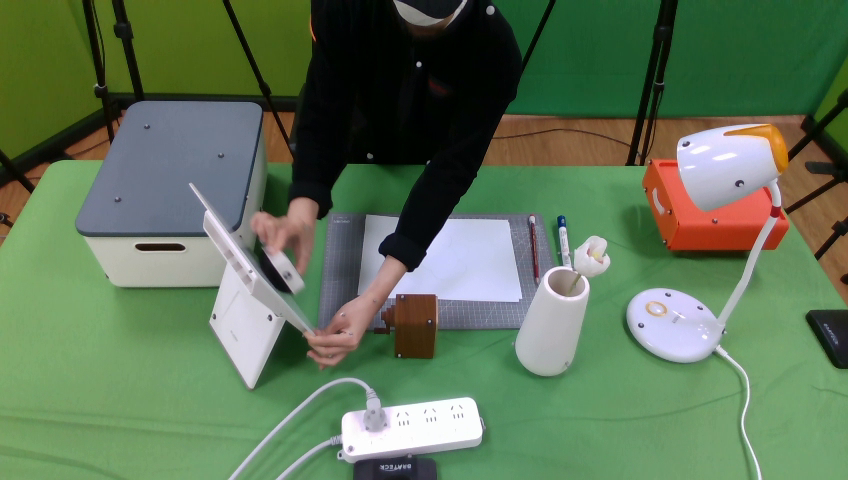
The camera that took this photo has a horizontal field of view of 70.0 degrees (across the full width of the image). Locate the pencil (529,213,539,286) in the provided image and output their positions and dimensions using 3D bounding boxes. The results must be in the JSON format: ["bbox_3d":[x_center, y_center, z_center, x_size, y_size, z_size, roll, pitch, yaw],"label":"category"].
[{"bbox_3d":[0.219,0.016,1.204,0.012,0.012,0.193,5,47,0],"label":"pencil"}]

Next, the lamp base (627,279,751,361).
[{"bbox_3d":[0.459,0.100,1.027,0.178,0.181,0.160,27,51,17],"label":"lamp base"}]

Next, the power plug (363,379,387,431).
[{"bbox_3d":[-0.072,0.252,0.910,0.035,0.053,0.072,3,45,-1],"label":"power plug"}]

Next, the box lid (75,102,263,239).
[{"bbox_3d":[-0.443,-0.138,1.094,0.263,0.015,0.369,-1,47,-5],"label":"box lid"}]

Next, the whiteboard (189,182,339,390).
[{"bbox_3d":[-0.292,0.096,0.929,0.144,0.307,0.216,-37,57,-10],"label":"whiteboard"}]

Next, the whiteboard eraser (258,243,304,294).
[{"bbox_3d":[-0.217,0.044,0.904,0.042,0.056,0.112,-38,24,-11],"label":"whiteboard eraser"}]

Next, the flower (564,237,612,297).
[{"bbox_3d":[0.206,0.088,0.893,0.038,0.363,0.044,-17,67,-9],"label":"flower"}]

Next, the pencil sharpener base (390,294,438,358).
[{"bbox_3d":[-0.018,0.143,1.000,0.077,0.107,0.061,1,46,-2],"label":"pencil sharpener base"}]

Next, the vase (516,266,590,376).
[{"bbox_3d":[0.208,0.132,0.964,0.098,0.201,0.097,3,46,-3],"label":"vase"}]

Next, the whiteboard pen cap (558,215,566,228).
[{"bbox_3d":[0.284,-0.035,1.245,0.018,0.018,0.033,4,52,-1],"label":"whiteboard pen cap"}]

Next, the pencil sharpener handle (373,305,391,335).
[{"bbox_3d":[-0.068,0.133,0.989,0.030,0.068,0.036,1,47,-2],"label":"pencil sharpener handle"}]

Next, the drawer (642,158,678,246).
[{"bbox_3d":[0.565,-0.076,1.211,0.212,0.073,0.193,2,45,-2],"label":"drawer"}]

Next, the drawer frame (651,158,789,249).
[{"bbox_3d":[0.571,-0.075,1.214,0.214,0.083,0.200,0,46,-1],"label":"drawer frame"}]

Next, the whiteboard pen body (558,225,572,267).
[{"bbox_3d":[0.280,0.010,1.207,0.017,0.017,0.140,3,50,-1],"label":"whiteboard pen body"}]

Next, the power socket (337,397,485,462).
[{"bbox_3d":[-0.018,0.285,0.915,0.227,0.033,0.071,-5,46,-8],"label":"power socket"}]

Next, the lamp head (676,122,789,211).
[{"bbox_3d":[0.423,-0.104,0.819,0.122,0.113,0.112,-13,33,40],"label":"lamp head"}]

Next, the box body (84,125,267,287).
[{"bbox_3d":[-0.446,-0.088,1.150,0.254,0.161,0.361,-1,46,-5],"label":"box body"}]
